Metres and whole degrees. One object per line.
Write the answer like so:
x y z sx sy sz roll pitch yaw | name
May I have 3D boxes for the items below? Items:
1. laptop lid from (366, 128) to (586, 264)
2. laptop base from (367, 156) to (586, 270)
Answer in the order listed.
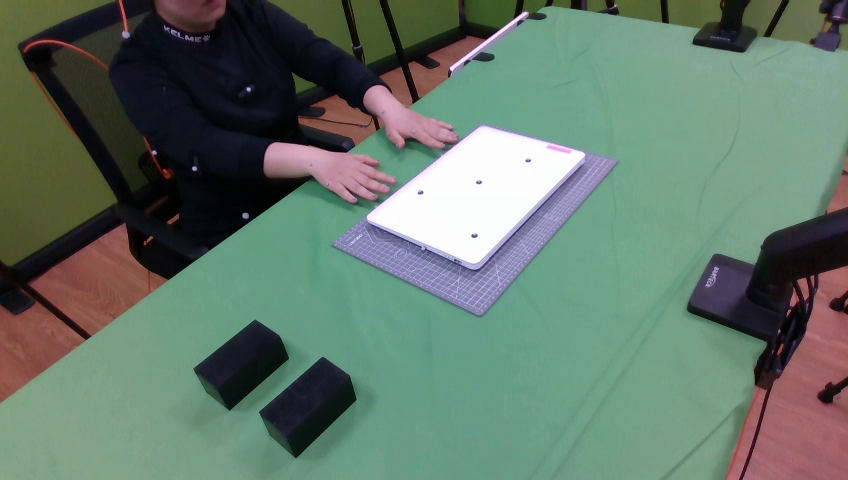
0.096 -0.095 1.052 0.239 0.013 0.358 24 49 34 | laptop lid
0.099 -0.086 1.058 0.233 0.023 0.355 21 48 34 | laptop base
